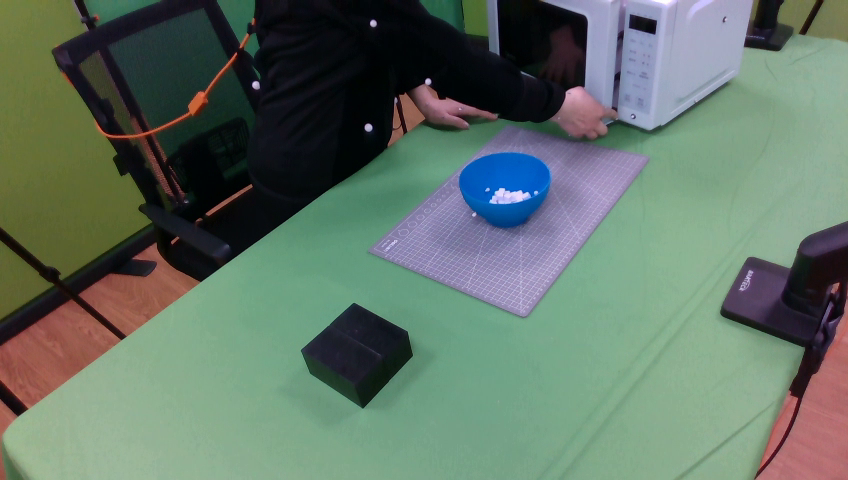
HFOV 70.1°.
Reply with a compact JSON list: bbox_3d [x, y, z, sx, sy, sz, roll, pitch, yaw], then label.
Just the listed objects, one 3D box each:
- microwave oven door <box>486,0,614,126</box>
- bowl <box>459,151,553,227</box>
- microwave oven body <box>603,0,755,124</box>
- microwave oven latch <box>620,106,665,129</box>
[{"bbox_3d":[0.246,-0.400,1.214,0.039,0.245,0.352,-28,43,-20],"label":"microwave oven door"},{"bbox_3d":[0.136,-0.074,1.000,0.151,0.077,0.150,-5,39,5],"label":"bowl"},{"bbox_3d":[0.402,-0.458,1.259,0.327,0.261,0.437,-33,45,-24],"label":"microwave oven body"},{"bbox_3d":[0.413,-0.237,1.146,0.030,0.029,0.078,-32,44,-23],"label":"microwave oven latch"}]
